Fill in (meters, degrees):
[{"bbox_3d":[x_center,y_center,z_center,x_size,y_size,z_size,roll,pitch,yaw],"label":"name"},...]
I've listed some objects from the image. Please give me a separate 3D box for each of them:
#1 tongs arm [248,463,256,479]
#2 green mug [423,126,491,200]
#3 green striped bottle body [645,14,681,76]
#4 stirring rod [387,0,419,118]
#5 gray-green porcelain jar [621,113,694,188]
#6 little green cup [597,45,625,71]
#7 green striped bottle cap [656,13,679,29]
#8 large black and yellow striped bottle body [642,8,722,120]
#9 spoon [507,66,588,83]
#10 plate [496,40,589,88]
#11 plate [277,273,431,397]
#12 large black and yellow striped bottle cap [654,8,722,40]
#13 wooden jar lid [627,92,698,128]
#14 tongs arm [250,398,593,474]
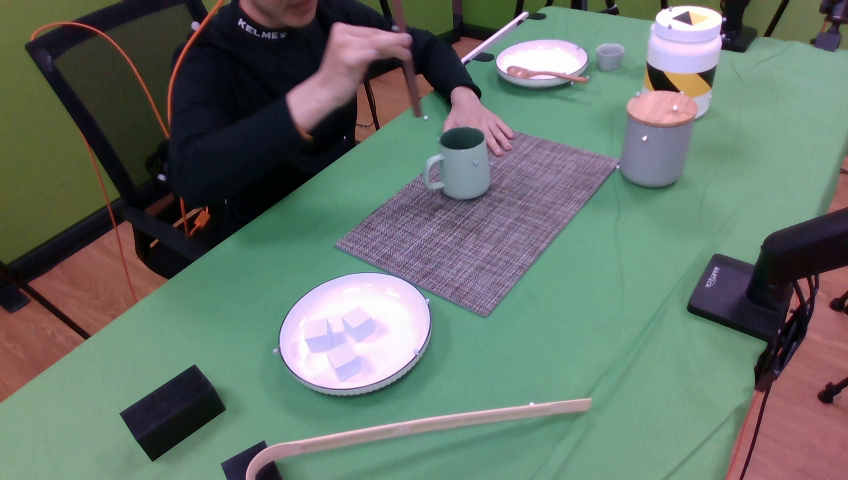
[{"bbox_3d":[0.012,0.262,0.615,0.385,0.026,0.050,3,42,-2],"label":"tongs arm"},{"bbox_3d":[0.055,-0.125,1.039,0.126,0.105,0.091,-25,44,-19],"label":"green mug"},{"bbox_3d":[0.520,-0.424,1.312,0.063,0.120,0.063,-4,41,4],"label":"green striped bottle body"},{"bbox_3d":[-0.029,-0.259,0.851,0.014,0.177,0.005,-20,26,-18],"label":"stirring rod"},{"bbox_3d":[0.390,-0.161,1.020,0.106,0.127,0.105,-4,41,4],"label":"gray-green porcelain jar"},{"bbox_3d":[0.422,-0.413,1.375,0.061,0.039,0.061,-3,41,3],"label":"little green cup"},{"bbox_3d":[0.515,-0.463,1.278,0.044,0.020,0.044,-6,42,6],"label":"green striped bottle cap"},{"bbox_3d":[0.493,-0.334,1.161,0.131,0.185,0.130,-4,41,4],"label":"large black and yellow striped bottle body"},{"bbox_3d":[0.265,-0.357,1.311,0.192,0.022,0.042,18,47,38],"label":"spoon"},{"bbox_3d":[0.268,-0.398,1.381,0.209,0.038,0.208,-4,41,4],"label":"plate"},{"bbox_3d":[-0.091,0.129,0.821,0.207,0.039,0.206,-4,40,4],"label":"plate"},{"bbox_3d":[0.483,-0.397,1.108,0.115,0.019,0.114,-3,41,3],"label":"large black and yellow striped bottle cap"},{"bbox_3d":[0.384,-0.207,0.980,0.108,0.021,0.108,-6,39,5],"label":"wooden jar lid"},{"bbox_3d":[0.008,0.212,0.675,0.389,0.028,0.028,-5,46,-11],"label":"tongs arm"}]
